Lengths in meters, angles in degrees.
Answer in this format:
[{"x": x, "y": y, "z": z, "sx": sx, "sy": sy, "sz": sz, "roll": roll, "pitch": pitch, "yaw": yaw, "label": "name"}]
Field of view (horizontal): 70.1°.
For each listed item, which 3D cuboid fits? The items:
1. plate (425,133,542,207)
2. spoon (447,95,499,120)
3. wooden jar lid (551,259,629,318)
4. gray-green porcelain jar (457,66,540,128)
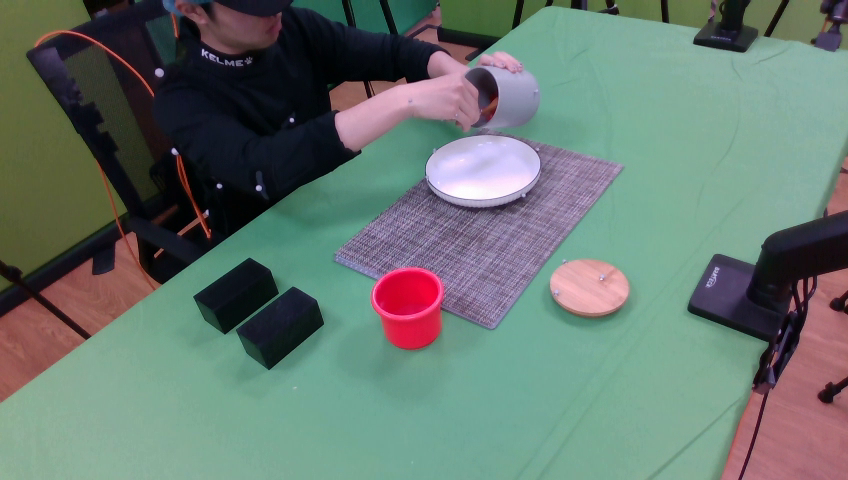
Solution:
[{"x": 0.106, "y": -0.122, "z": 1.079, "sx": 0.207, "sy": 0.039, "sz": 0.206, "roll": -4, "pitch": 41, "yaw": 4, "label": "plate"}, {"x": 0.106, "y": -0.230, "z": 1.051, "sx": 0.041, "sy": 0.022, "sz": 0.195, "roll": 18, "pitch": 35, "yaw": 38, "label": "spoon"}, {"x": 0.234, "y": 0.070, "z": 0.857, "sx": 0.108, "sy": 0.021, "sz": 0.108, "roll": -5, "pitch": 40, "yaw": 5, "label": "wooden jar lid"}, {"x": 0.138, "y": -0.257, "z": 1.088, "sx": 0.127, "sy": 0.106, "sz": 0.105, "roll": -12, "pitch": 34, "yaw": -42, "label": "gray-green porcelain jar"}]
